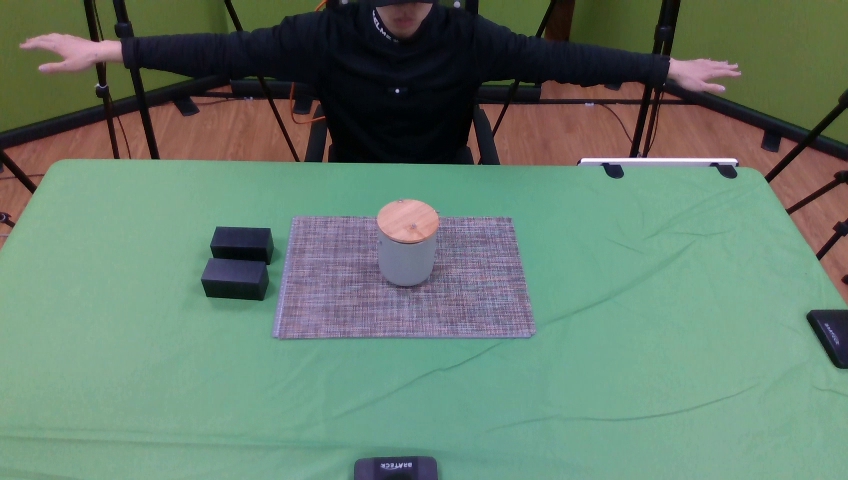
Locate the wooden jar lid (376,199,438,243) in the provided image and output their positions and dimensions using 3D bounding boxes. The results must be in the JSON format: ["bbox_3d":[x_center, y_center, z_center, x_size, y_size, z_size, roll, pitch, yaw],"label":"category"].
[{"bbox_3d":[-0.029,-0.030,1.059,0.108,0.021,0.107,2,43,-2],"label":"wooden jar lid"}]

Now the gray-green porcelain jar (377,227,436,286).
[{"bbox_3d":[-0.033,0.014,1.106,0.106,0.127,0.105,2,46,-2],"label":"gray-green porcelain jar"}]
